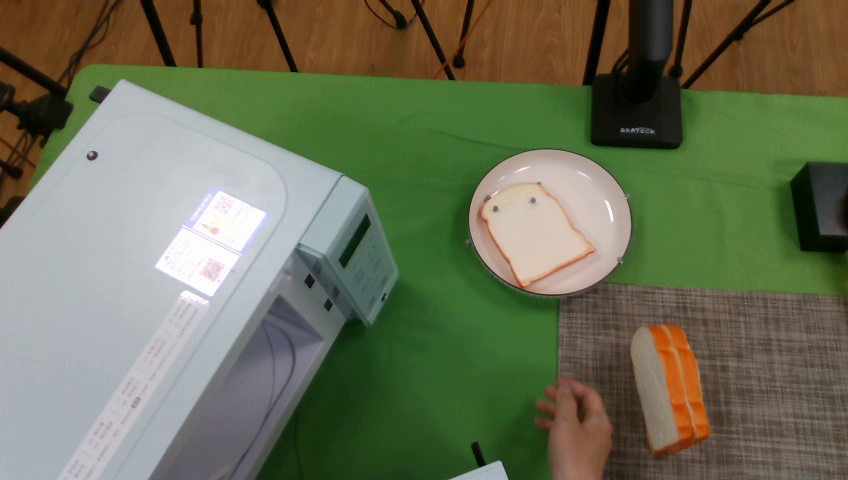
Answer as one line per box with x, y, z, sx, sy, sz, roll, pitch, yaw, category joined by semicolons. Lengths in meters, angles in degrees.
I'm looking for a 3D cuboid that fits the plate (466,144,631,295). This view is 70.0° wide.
0.158;-0.025;0.784;0.207;0.039;0.206;-2;68;4;plate

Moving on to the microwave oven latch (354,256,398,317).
-0.060;0.054;0.752;0.030;0.030;0.079;26;73;14;microwave oven latch

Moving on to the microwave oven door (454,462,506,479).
-0.092;0.279;0.552;0.356;0.245;0.039;-20;66;-3;microwave oven door

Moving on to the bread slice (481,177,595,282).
0.135;-0.018;0.781;0.107;0.018;0.133;-29;67;-10;bread slice

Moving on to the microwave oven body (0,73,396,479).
-0.282;0.106;0.645;0.324;0.262;0.440;24;73;14;microwave oven body
